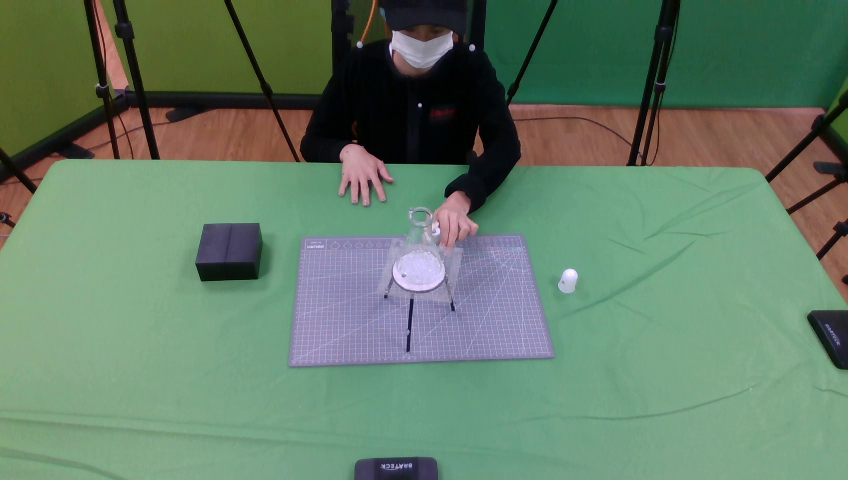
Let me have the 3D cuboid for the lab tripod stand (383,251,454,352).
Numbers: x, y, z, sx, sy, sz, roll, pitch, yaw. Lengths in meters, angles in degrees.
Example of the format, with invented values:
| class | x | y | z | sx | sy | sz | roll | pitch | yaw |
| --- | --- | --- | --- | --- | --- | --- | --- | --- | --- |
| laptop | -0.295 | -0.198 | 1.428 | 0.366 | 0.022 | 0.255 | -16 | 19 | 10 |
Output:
| class | x | y | z | sx | sy | sz | roll | pitch | yaw |
| --- | --- | --- | --- | --- | --- | --- | --- | --- | --- |
| lab tripod stand | -0.015 | 0.094 | 1.025 | 0.148 | 0.132 | 0.147 | 1 | 46 | -1 |

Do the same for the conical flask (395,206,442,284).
| class | x | y | z | sx | sy | sz | roll | pitch | yaw |
| --- | --- | --- | --- | --- | --- | --- | --- | --- | --- |
| conical flask | -0.007 | 0.005 | 0.937 | 0.075 | 0.122 | 0.075 | 2 | 45 | -1 |

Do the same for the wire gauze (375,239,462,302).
| class | x | y | z | sx | sy | sz | roll | pitch | yaw |
| --- | --- | --- | --- | --- | --- | --- | --- | --- | --- |
| wire gauze | -0.006 | 0.049 | 0.977 | 0.121 | 0.011 | 0.124 | 10 | 44 | 5 |

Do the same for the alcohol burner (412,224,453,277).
| class | x | y | z | sx | sy | sz | roll | pitch | yaw |
| --- | --- | --- | --- | --- | --- | --- | --- | --- | --- |
| alcohol burner | 0.017 | 0.013 | 1.110 | 0.078 | 0.119 | 0.077 | 2 | 49 | -2 |

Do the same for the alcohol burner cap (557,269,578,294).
| class | x | y | z | sx | sy | sz | roll | pitch | yaw |
| --- | --- | --- | --- | --- | --- | --- | --- | --- | --- |
| alcohol burner cap | 0.270 | 0.075 | 1.135 | 0.034 | 0.048 | 0.033 | 3 | 46 | -2 |
